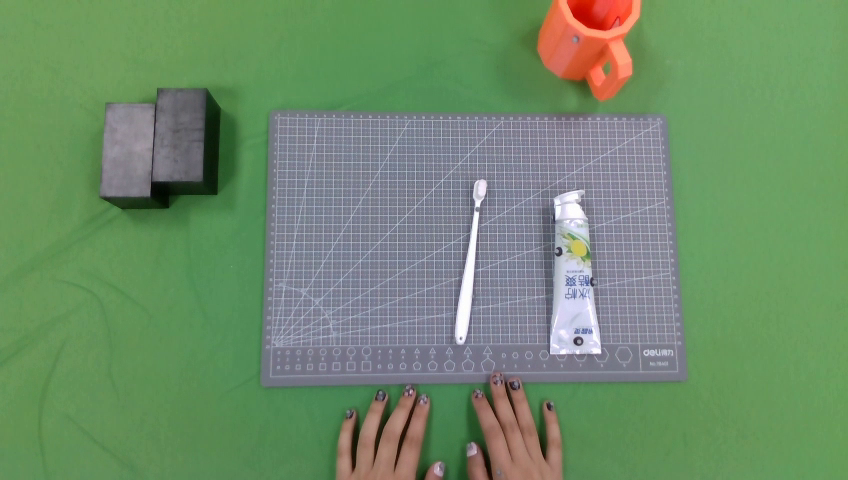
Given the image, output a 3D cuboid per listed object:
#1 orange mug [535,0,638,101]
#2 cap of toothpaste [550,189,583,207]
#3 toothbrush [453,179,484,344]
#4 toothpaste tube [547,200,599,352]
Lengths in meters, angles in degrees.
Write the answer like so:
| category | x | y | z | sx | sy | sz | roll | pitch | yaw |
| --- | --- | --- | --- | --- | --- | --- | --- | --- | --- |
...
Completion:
| category | x | y | z | sx | sy | sz | roll | pitch | yaw |
| --- | --- | --- | --- | --- | --- | --- | --- | --- | --- |
| orange mug | 0.182 | -0.220 | 0.661 | 0.083 | 0.101 | 0.125 | -21 | 77 | -7 |
| cap of toothpaste | 0.155 | -0.045 | 0.658 | 0.037 | 0.037 | 0.011 | -13 | 78 | -6 |
| toothbrush | 0.048 | 0.020 | 0.651 | 0.014 | 0.016 | 0.181 | 11 | 81 | -16 |
| toothpaste tube | 0.156 | 0.037 | 0.650 | 0.055 | 0.034 | 0.164 | -2 | 84 | 4 |
